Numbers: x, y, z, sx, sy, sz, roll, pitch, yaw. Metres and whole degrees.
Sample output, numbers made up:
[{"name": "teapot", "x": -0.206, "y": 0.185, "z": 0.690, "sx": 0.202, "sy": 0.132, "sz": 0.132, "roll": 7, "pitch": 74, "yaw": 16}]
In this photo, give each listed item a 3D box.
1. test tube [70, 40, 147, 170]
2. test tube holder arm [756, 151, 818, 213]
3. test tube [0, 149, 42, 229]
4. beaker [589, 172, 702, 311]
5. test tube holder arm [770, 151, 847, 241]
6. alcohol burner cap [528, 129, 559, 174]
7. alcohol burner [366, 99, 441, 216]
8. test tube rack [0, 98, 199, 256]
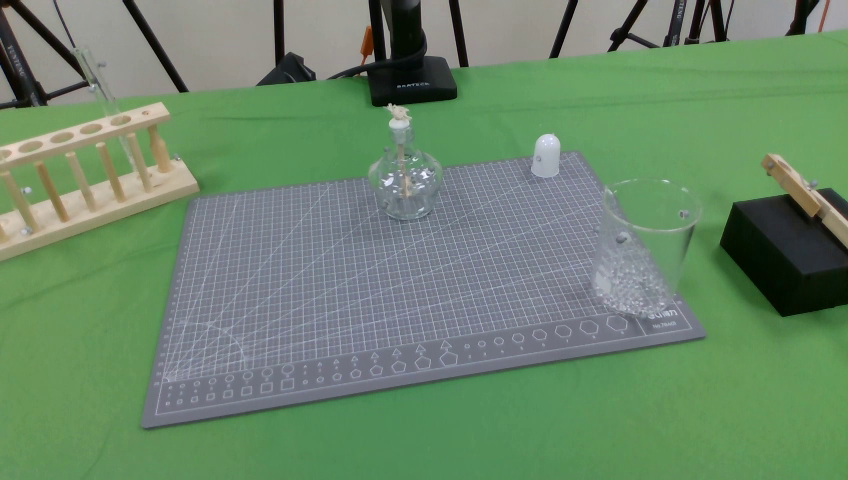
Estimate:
[{"name": "test tube", "x": -0.326, "y": -0.135, "z": 0.633, "sx": 0.017, "sy": 0.152, "sz": 0.017, "roll": -4, "pitch": 43, "yaw": 4}, {"name": "test tube holder arm", "x": 0.338, "y": -0.055, "z": 0.561, "sx": 0.010, "sy": 0.015, "sz": 0.087, "roll": -2, "pitch": 40, "yaw": -9}, {"name": "test tube", "x": -0.402, "y": -0.072, "z": 0.571, "sx": 0.017, "sy": 0.152, "sz": 0.017, "roll": -2, "pitch": 39, "yaw": 2}, {"name": "beaker", "x": 0.178, "y": 0.003, "z": 0.509, "sx": 0.074, "sy": 0.101, "sz": 0.083, "roll": -28, "pitch": 46, "yaw": -27}, {"name": "test tube holder arm", "x": 0.350, "y": -0.027, "z": 0.528, "sx": 0.013, "sy": 0.015, "sz": 0.176, "roll": -3, "pitch": 40, "yaw": -10}, {"name": "alcohol burner cap", "x": 0.135, "y": -0.102, "z": 0.678, "sx": 0.034, "sy": 0.048, "sz": 0.033, "roll": -1, "pitch": 41, "yaw": 1}, {"name": "alcohol burner", "x": -0.022, "y": -0.085, "z": 0.611, "sx": 0.078, "sy": 0.120, "sz": 0.077, "roll": -3, "pitch": 39, "yaw": 3}, {"name": "test tube rack", "x": -0.374, "y": -0.063, "z": 0.628, "sx": 0.243, "sy": 0.086, "sz": 0.066, "roll": -24, "pitch": 45, "yaw": -24}]
